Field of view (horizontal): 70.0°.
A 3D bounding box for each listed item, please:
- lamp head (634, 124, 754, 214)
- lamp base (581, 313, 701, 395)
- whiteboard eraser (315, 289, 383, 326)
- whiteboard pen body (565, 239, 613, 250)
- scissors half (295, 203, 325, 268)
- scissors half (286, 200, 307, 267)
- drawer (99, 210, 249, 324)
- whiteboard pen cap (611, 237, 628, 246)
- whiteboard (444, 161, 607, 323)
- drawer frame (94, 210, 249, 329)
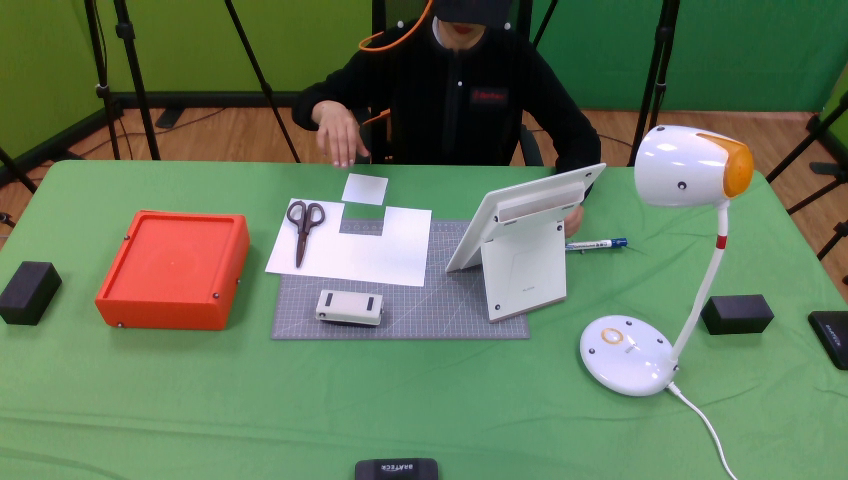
[{"bbox_3d":[0.351,-0.089,0.775,0.112,0.113,0.122,-30,30,-28],"label":"lamp head"},{"bbox_3d":[0.361,0.144,0.972,0.178,0.181,0.160,34,53,23],"label":"lamp base"},{"bbox_3d":[-0.130,0.119,1.054,0.113,0.042,0.055,6,47,1],"label":"whiteboard eraser"},{"bbox_3d":[0.331,0.008,1.212,0.141,0.017,0.017,-5,47,-4],"label":"whiteboard pen body"},{"bbox_3d":[-0.230,-0.011,1.195,0.040,0.013,0.174,15,47,-3],"label":"scissors half"},{"bbox_3d":[-0.250,-0.013,1.192,0.040,0.013,0.174,-3,49,-12],"label":"scissors half"},{"bbox_3d":[-0.435,0.044,1.081,0.194,0.073,0.210,3,47,-2],"label":"drawer"},{"bbox_3d":[0.390,0.004,1.215,0.033,0.018,0.018,-7,47,-2],"label":"whiteboard pen cap"},{"bbox_3d":[0.186,0.025,1.029,0.217,0.306,0.143,-14,68,-18],"label":"whiteboard"},{"bbox_3d":[-0.435,0.048,1.076,0.202,0.083,0.212,2,47,-3],"label":"drawer frame"}]
